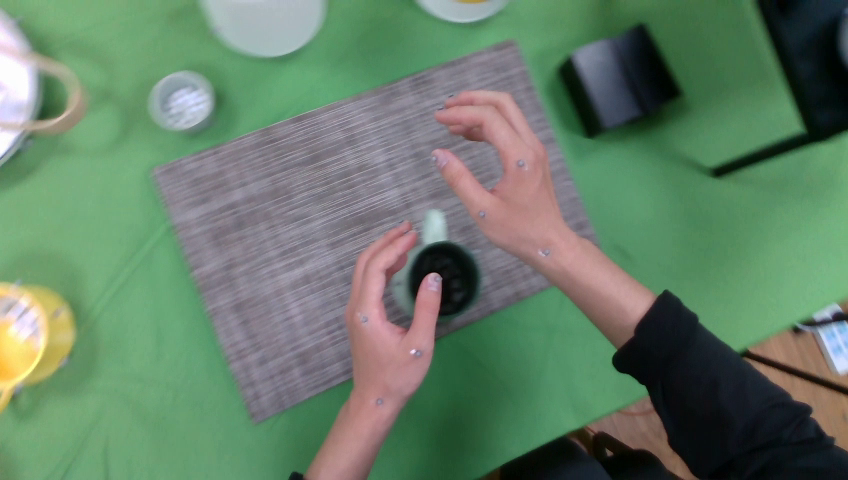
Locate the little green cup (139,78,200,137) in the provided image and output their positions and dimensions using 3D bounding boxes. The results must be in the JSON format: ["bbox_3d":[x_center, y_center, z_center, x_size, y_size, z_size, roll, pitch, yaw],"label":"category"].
[{"bbox_3d":[-0.278,-0.143,0.669,0.062,0.038,0.061,1,86,-9],"label":"little green cup"}]

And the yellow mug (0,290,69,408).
[{"bbox_3d":[-0.429,0.116,0.611,0.100,0.064,0.130,9,85,-8],"label":"yellow mug"}]

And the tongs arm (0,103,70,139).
[{"bbox_3d":[-0.559,-0.129,0.595,0.385,0.026,0.050,5,81,-6],"label":"tongs arm"}]

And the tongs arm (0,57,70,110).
[{"bbox_3d":[-0.545,-0.210,0.605,0.388,0.028,0.028,19,76,-4],"label":"tongs arm"}]

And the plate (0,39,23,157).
[{"bbox_3d":[-0.528,-0.147,0.633,0.208,0.039,0.207,1,85,-8],"label":"plate"}]

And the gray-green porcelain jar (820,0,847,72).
[{"bbox_3d":[0.449,-0.215,0.557,0.106,0.126,0.105,1,84,-8],"label":"gray-green porcelain jar"}]

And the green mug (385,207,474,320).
[{"bbox_3d":[0.004,0.025,0.659,0.093,0.105,0.125,-7,86,-8],"label":"green mug"}]

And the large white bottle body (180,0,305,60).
[{"bbox_3d":[-0.193,-0.279,0.619,0.131,0.184,0.130,1,85,-7],"label":"large white bottle body"}]

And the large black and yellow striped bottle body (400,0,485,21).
[{"bbox_3d":[0.031,-0.337,0.657,0.131,0.184,0.130,1,85,-8],"label":"large black and yellow striped bottle body"}]
